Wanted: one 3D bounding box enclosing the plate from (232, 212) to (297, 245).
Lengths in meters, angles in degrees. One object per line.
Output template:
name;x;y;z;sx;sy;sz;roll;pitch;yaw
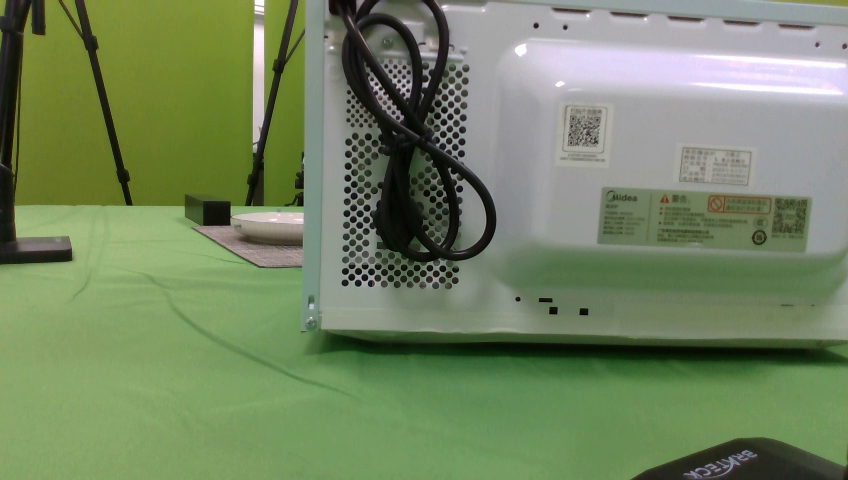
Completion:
plate;-0.214;-0.019;1.018;0.208;0.039;0.207;2;7;0

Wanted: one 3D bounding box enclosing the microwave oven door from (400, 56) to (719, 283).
microwave oven door;0.155;-0.077;0.698;0.356;0.243;0.039;2;8;-5

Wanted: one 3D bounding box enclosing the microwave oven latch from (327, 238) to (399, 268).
microwave oven latch;-0.069;0.015;0.694;0.079;0.029;0.030;3;7;-3

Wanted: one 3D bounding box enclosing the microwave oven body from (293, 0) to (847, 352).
microwave oven body;0.122;-0.055;0.550;0.442;0.260;0.325;3;7;-5

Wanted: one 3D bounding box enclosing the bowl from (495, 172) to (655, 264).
bowl;0.144;-0.023;0.592;0.151;0.077;0.151;1;11;0
